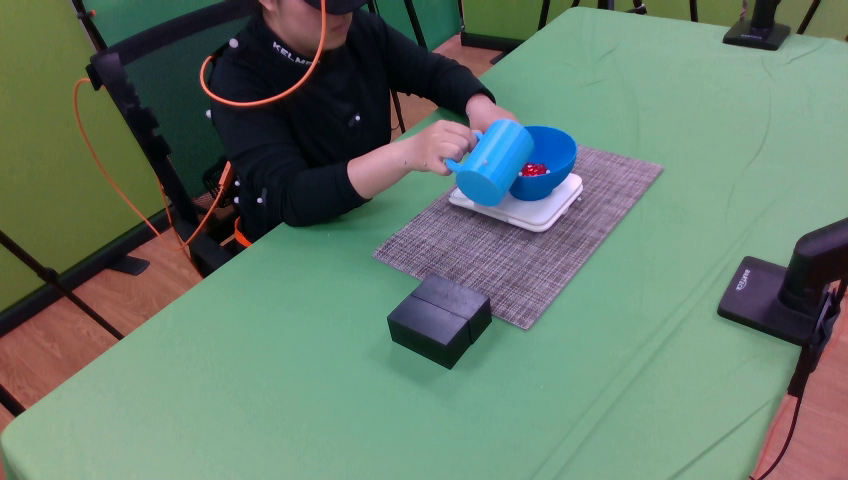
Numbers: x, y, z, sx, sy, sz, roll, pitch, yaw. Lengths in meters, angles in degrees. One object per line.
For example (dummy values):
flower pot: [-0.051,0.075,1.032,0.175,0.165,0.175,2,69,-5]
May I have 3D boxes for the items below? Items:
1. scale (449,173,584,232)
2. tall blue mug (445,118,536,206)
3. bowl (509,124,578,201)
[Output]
scale: [0.156,-0.085,1.040,0.199,0.032,0.149,22,49,32]
tall blue mug: [0.092,-0.123,0.881,0.107,0.077,0.108,36,65,-3]
bowl: [0.176,-0.117,0.991,0.151,0.077,0.150,-6,41,5]
